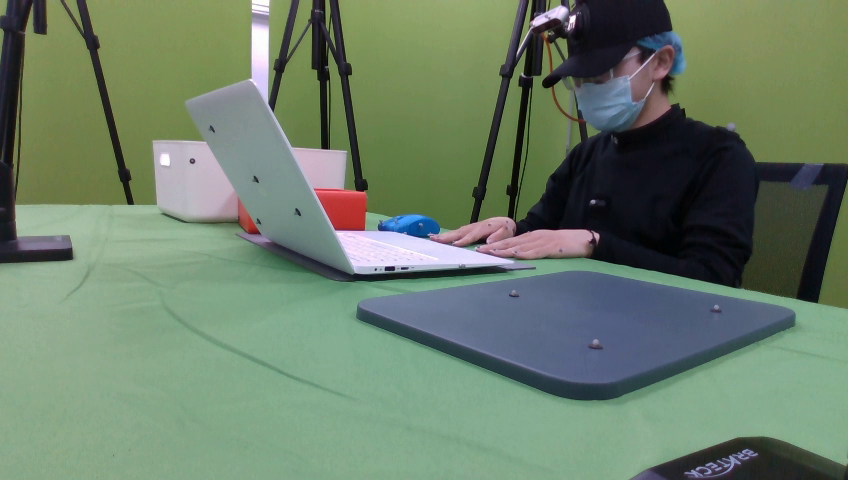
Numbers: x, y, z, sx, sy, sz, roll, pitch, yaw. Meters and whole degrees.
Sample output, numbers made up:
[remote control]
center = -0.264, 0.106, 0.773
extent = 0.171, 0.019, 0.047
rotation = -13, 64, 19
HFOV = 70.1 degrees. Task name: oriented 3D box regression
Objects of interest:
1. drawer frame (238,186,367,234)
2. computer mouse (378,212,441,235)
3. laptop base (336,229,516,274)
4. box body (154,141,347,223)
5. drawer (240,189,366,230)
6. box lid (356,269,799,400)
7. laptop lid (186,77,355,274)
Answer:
[drawer frame]
center = -0.237, -0.063, 1.157
extent = 0.214, 0.082, 0.201
rotation = -2, 8, -23
[computer mouse]
center = -0.027, -0.030, 1.141
extent = 0.118, 0.041, 0.062
rotation = -4, 12, -34
[laptop base]
center = -0.065, 0.014, 0.877
extent = 0.237, 0.023, 0.352
rotation = 2, 6, -32
[box body]
center = -0.384, -0.131, 1.346
extent = 0.366, 0.160, 0.253
rotation = -3, 9, -36
[drawer]
center = -0.235, -0.062, 1.158
extent = 0.213, 0.073, 0.193
rotation = -1, 7, -22
[box lid]
center = 0.152, 0.068, 0.564
extent = 0.374, 0.015, 0.262
rotation = -4, 10, -41
[laptop lid]
center = -0.211, -0.081, 0.772
extent = 0.013, 0.242, 0.355
rotation = -35, 25, -23
